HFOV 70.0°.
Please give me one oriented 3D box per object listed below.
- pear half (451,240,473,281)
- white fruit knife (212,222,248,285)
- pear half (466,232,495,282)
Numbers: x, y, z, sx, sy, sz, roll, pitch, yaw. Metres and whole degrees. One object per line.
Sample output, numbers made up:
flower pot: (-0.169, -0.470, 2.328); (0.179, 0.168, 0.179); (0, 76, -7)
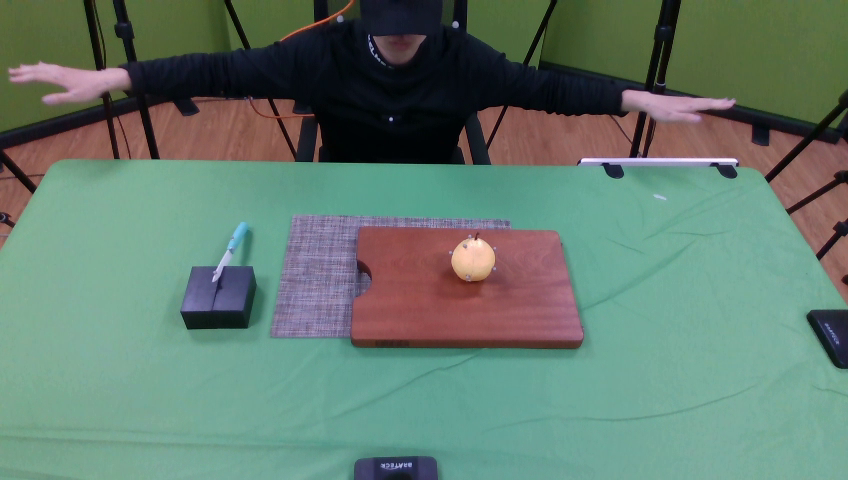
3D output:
pear half: (0.065, 0.036, 1.085); (0.031, 0.088, 0.070); (-11, 51, -14)
white fruit knife: (-0.355, 0.020, 1.111); (0.016, 0.027, 0.206); (-1, 30, 0)
pear half: (0.100, 0.024, 1.085); (0.056, 0.110, 0.076); (-11, 51, -15)
